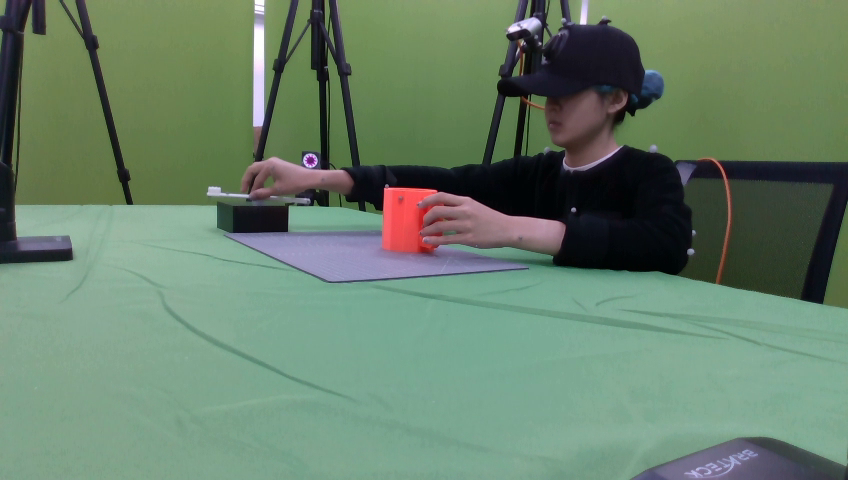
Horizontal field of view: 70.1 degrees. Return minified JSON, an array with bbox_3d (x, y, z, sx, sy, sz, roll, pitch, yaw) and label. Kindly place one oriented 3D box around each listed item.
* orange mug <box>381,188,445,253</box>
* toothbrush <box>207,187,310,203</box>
[{"bbox_3d":[-0.013,-0.031,0.941,0.084,0.100,0.125,-2,4,-37],"label":"orange mug"},{"bbox_3d":[-0.301,-0.082,1.110,0.183,0.016,0.014,4,9,-22],"label":"toothbrush"}]
